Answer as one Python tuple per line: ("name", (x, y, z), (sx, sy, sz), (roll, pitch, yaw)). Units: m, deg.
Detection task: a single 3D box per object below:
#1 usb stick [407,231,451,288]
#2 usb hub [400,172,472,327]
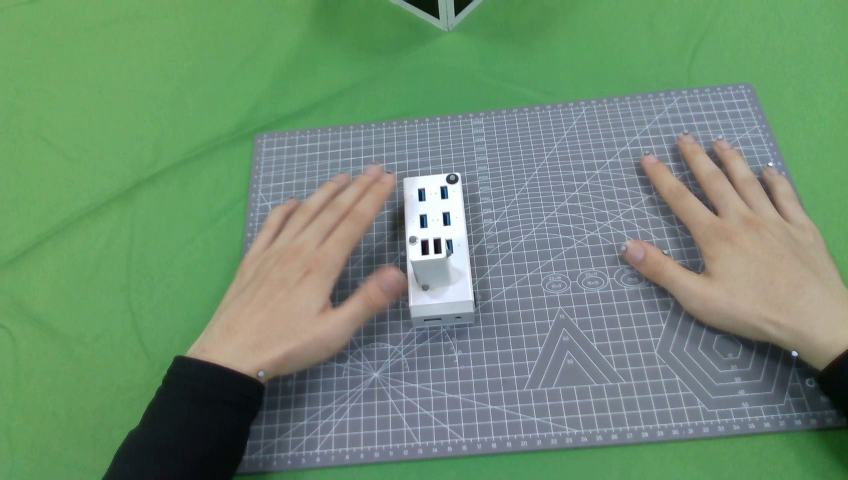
("usb stick", (0.004, 0.018, 0.431), (0.027, 0.059, 0.021), (-6, 59, 1))
("usb hub", (0.009, 0.004, 0.472), (0.049, 0.025, 0.124), (-4, 61, 1))
